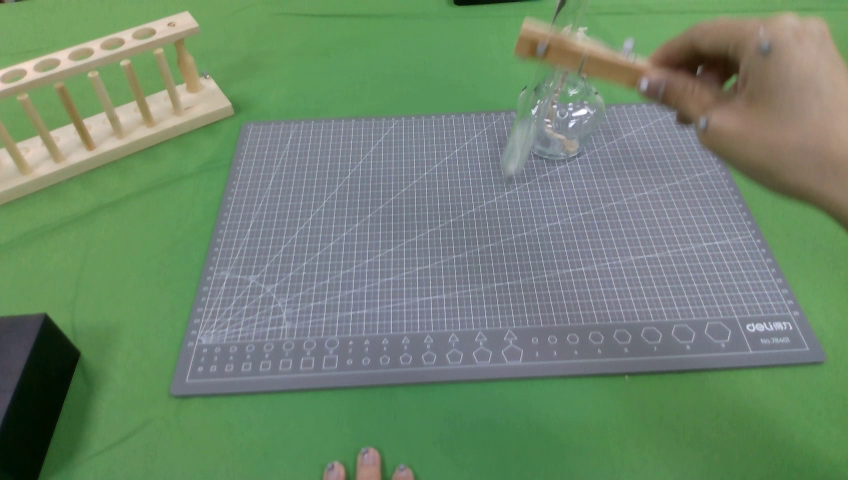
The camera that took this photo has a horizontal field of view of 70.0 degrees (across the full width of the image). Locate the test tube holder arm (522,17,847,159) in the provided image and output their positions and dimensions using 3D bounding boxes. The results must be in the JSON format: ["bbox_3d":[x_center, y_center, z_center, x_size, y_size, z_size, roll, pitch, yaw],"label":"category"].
[{"bbox_3d":[0.135,-0.081,0.321,0.178,0.015,0.013,22,43,5],"label":"test tube holder arm"}]

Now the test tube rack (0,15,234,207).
[{"bbox_3d":[-0.314,-0.123,0.567,0.242,0.086,0.066,-27,53,-20],"label":"test tube rack"}]

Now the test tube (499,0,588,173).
[{"bbox_3d":[0.068,-0.099,0.329,0.017,0.151,0.017,10,40,-8],"label":"test tube"}]

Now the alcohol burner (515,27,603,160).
[{"bbox_3d":[0.121,-0.130,0.532,0.078,0.120,0.077,-1,47,1],"label":"alcohol burner"}]

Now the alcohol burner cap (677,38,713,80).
[{"bbox_3d":[0.280,-0.184,0.625,0.034,0.048,0.033,-2,48,3],"label":"alcohol burner cap"}]

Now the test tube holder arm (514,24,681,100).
[{"bbox_3d":[0.091,-0.094,0.320,0.088,0.015,0.010,17,42,0],"label":"test tube holder arm"}]
